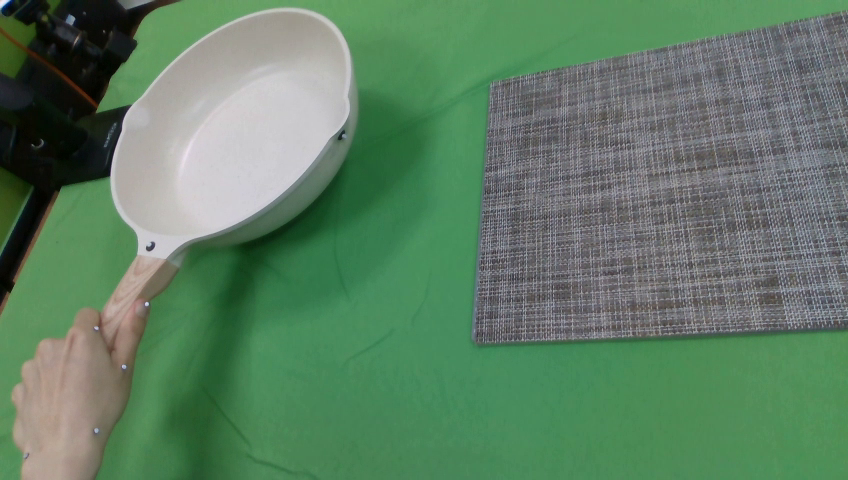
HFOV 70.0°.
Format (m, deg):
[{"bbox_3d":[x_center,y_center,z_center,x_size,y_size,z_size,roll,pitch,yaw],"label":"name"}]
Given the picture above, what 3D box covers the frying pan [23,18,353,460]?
[{"bbox_3d":[-0.236,-0.024,0.603,0.305,0.104,0.485,7,57,28],"label":"frying pan"}]
